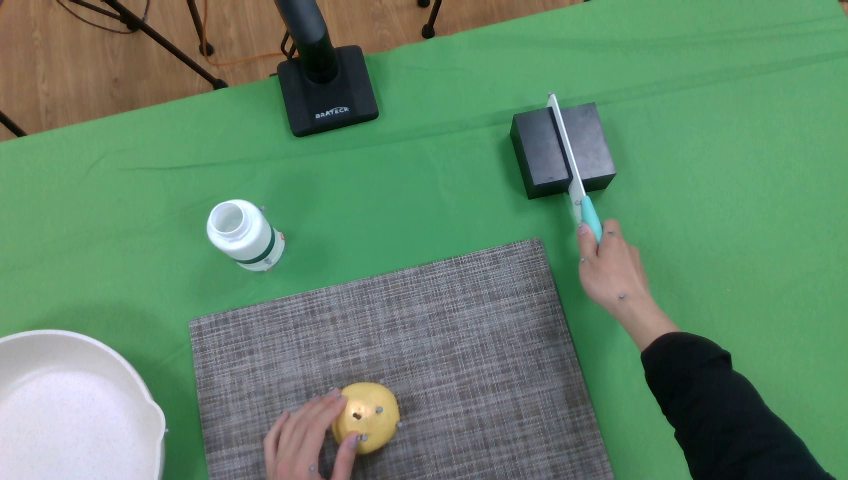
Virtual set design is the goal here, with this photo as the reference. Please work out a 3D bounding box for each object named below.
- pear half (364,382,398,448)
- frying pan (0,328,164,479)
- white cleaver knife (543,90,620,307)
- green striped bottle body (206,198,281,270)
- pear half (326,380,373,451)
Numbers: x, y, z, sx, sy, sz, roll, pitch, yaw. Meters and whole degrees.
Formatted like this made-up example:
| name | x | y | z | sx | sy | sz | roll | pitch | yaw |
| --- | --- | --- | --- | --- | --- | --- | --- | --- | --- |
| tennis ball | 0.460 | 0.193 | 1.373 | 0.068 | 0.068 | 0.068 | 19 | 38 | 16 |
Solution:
| name | x | y | z | sx | sy | sz | roll | pitch | yaw |
| --- | --- | --- | --- | --- | --- | --- | --- | --- | --- |
| pear half | -0.045 | 0.191 | 0.670 | 0.031 | 0.088 | 0.070 | -9 | 69 | -1 |
| frying pan | -0.395 | 0.335 | 0.630 | 0.307 | 0.103 | 0.483 | -18 | 66 | -3 |
| white cleaver knife | 0.190 | -0.055 | 0.744 | 0.021 | 0.066 | 0.284 | -11 | 72 | 2 |
| green striped bottle body | -0.215 | -0.009 | 0.719 | 0.063 | 0.120 | 0.063 | 0 | 73 | 1 |
| pear half | -0.081 | 0.191 | 0.660 | 0.056 | 0.110 | 0.076 | -10 | 69 | 1 |
